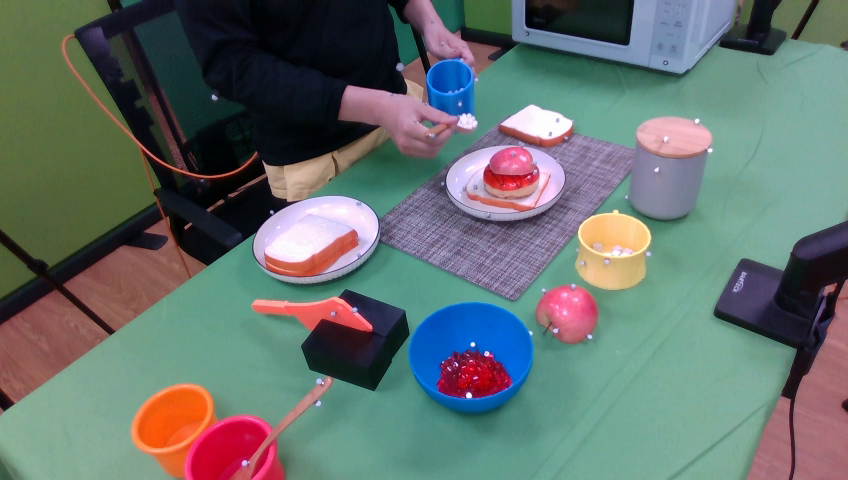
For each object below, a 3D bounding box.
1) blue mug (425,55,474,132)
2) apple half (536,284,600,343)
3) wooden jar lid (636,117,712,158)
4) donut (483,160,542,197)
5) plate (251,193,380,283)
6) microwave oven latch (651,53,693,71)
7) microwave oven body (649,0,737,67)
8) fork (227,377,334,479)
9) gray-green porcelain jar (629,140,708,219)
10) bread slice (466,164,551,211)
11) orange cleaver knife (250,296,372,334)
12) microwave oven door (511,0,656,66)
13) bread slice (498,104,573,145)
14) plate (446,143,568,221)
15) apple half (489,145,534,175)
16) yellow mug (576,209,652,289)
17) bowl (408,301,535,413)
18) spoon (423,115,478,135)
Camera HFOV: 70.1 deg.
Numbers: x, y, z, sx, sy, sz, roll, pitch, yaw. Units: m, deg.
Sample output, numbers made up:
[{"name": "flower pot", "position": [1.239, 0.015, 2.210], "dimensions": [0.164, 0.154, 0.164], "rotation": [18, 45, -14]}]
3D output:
[{"name": "blue mug", "position": [0.051, -0.272, 1.084], "dimensions": [0.082, 0.106, 0.116], "rotation": [10, 64, 10]}, {"name": "apple half", "position": [0.196, 0.091, 0.815], "dimensions": [0.075, 0.053, 0.080], "rotation": [-22, 42, -20]}, {"name": "wooden jar lid", "position": [0.377, -0.151, 0.917], "dimensions": [0.108, 0.021, 0.108], "rotation": [-2, 42, 3]}, {"name": "donut", "position": [0.149, -0.110, 1.016], "dimensions": [0.099, 0.048, 0.098], "rotation": [-4, 40, 4]}, {"name": "plate", "position": [-0.173, -0.001, 0.985], "dimensions": [0.209, 0.038, 0.208], "rotation": [-4, 41, 4]}, {"name": "microwave oven latch", "position": [0.532, -0.386, 1.301], "dimensions": [0.078, 0.029, 0.030], "rotation": [27, 52, 34]}, {"name": "microwave oven body", "position": [0.475, -0.602, 1.411], "dimensions": [0.438, 0.261, 0.327], "rotation": [23, 50, 32]}, {"name": "fork", "position": [-0.162, 0.216, 0.647], "dimensions": [0.207, 0.019, 0.028], "rotation": [-49, 41, 16]}, {"name": "gray-green porcelain jar", "position": [0.383, -0.105, 0.958], "dimensions": [0.106, 0.127, 0.105], "rotation": [-4, 41, 4]}, {"name": "bread slice", "position": [0.141, -0.092, 1.042], "dimensions": [0.133, 0.018, 0.107], "rotation": [11, 43, 19]}, {"name": "orange cleaver knife", "position": [-0.158, 0.103, 0.828], "dimensions": [0.210, 0.078, 0.012], "rotation": [-4, 43, 39]}, {"name": "microwave oven door", "position": [0.351, -0.540, 1.349], "dimensions": [0.353, 0.245, 0.039], "rotation": [24, 50, 31]}, {"name": "bread slice", "position": [0.231, -0.231, 1.205], "dimensions": [0.105, 0.019, 0.130], "rotation": [-36, 47, -29]}, {"name": "plate", "position": [0.142, -0.097, 1.045], "dimensions": [0.207, 0.039, 0.206], "rotation": [-4, 40, 4]}, {"name": "apple half", "position": [0.145, -0.138, 0.995], "dimensions": [0.081, 0.033, 0.081], "rotation": [-2, 35, 2]}, {"name": "yellow mug", "position": [0.279, 0.004, 0.893], "dimensions": [0.099, 0.064, 0.130], "rotation": [5, 42, 14]}, {"name": "bowl", "position": [0.060, 0.156, 0.739], "dimensions": [0.151, 0.077, 0.150], "rotation": [-4, 40, 4]}, {"name": "spoon", "position": [0.038, -0.178, 0.928], "dimensions": [0.041, 0.021, 0.194], "rotation": [19, 20, 18]}]
